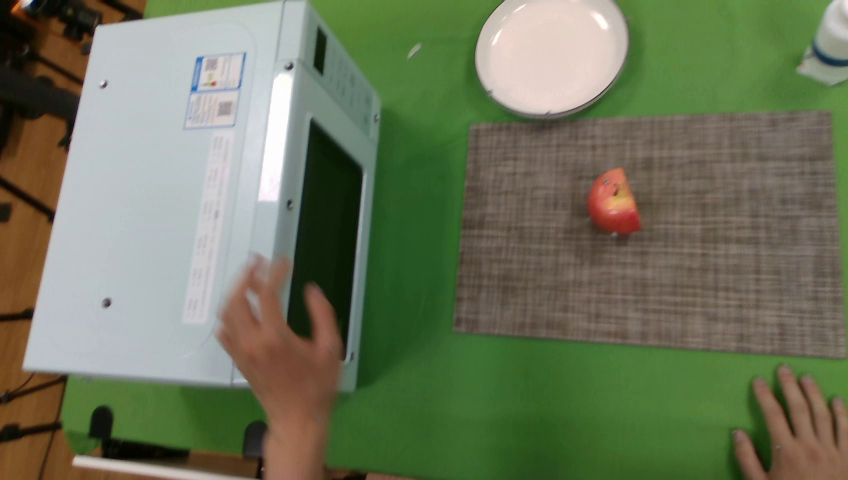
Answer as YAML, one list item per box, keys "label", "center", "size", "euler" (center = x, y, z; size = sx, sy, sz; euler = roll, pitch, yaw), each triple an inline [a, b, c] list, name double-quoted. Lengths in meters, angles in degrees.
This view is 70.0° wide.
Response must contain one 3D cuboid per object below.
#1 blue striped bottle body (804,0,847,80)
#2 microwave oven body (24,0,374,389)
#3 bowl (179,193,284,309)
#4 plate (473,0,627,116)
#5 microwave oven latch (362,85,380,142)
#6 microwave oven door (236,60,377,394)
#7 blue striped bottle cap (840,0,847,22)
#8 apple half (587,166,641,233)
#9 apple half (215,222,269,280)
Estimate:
- label: "blue striped bottle body"
  center: [0.486, -0.239, 0.692]
  size: [0.063, 0.122, 0.062]
  euler: [-4, 74, 16]
- label: "microwave oven body"
  center: [-0.264, -0.036, 0.791]
  size: [0.325, 0.262, 0.439]
  euler: [0, 76, 17]
- label: "bowl"
  center: [-0.242, 0.018, 0.812]
  size: [0.151, 0.077, 0.151]
  euler: [-2, 84, 23]
- label: "plate"
  center: [0.173, -0.263, 0.841]
  size: [0.207, 0.039, 0.206]
  euler: [-4, 75, 16]
- label: "microwave oven latch"
  center: [-0.081, -0.183, 0.878]
  size: [0.030, 0.030, 0.079]
  euler: [0, 77, 17]
- label: "microwave oven door"
  center: [-0.129, 0.003, 0.734]
  size: [0.039, 0.246, 0.354]
  euler: [-1, 76, 18]
- label: "blue striped bottle cap"
  center: [0.472, -0.253, 0.645]
  size: [0.044, 0.021, 0.044]
  euler: [-4, 77, 17]
- label: "apple half"
  center: [0.228, -0.044, 0.743]
  size: [0.053, 0.075, 0.080]
  euler: [-19, 75, 16]
- label: "apple half"
  center: [-0.246, 0.015, 0.802]
  size: [0.081, 0.033, 0.081]
  euler: [0, 90, 13]
